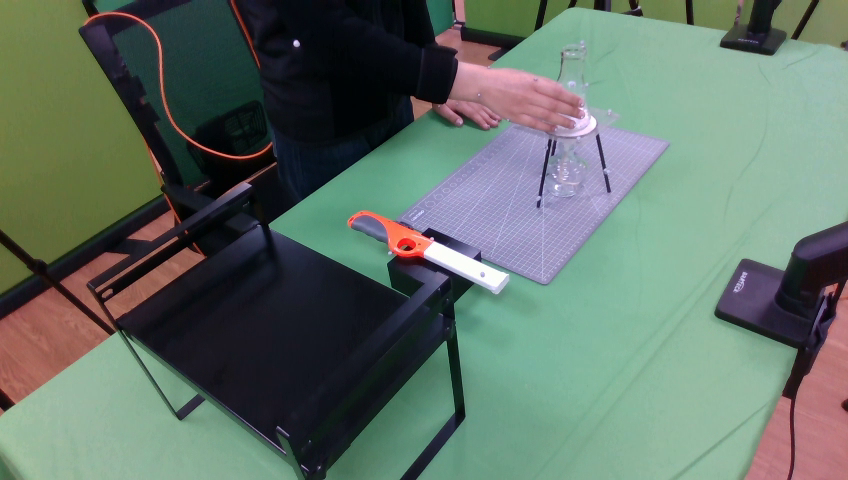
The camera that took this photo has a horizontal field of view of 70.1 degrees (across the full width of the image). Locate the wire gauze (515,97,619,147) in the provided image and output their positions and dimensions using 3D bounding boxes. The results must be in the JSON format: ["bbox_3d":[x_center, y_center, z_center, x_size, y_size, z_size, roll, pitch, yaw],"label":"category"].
[{"bbox_3d":[0.230,-0.189,0.970,0.120,0.011,0.125,25,51,34],"label":"wire gauze"}]

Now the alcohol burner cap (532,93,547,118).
[{"bbox_3d":[0.240,-0.281,1.251,0.034,0.048,0.033,-4,42,4],"label":"alcohol burner cap"}]

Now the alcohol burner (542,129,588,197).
[{"bbox_3d":[0.239,-0.133,1.021,0.078,0.119,0.077,-4,38,4],"label":"alcohol burner"}]

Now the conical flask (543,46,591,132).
[{"bbox_3d":[0.225,-0.235,0.933,0.075,0.122,0.075,-3,41,3],"label":"conical flask"}]

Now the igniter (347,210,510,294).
[{"bbox_3d":[-0.002,0.012,0.884,0.274,0.025,0.057,24,53,28],"label":"igniter"}]

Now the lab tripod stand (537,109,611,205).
[{"bbox_3d":[0.244,-0.141,1.014,0.148,0.132,0.147,-3,39,3],"label":"lab tripod stand"}]
